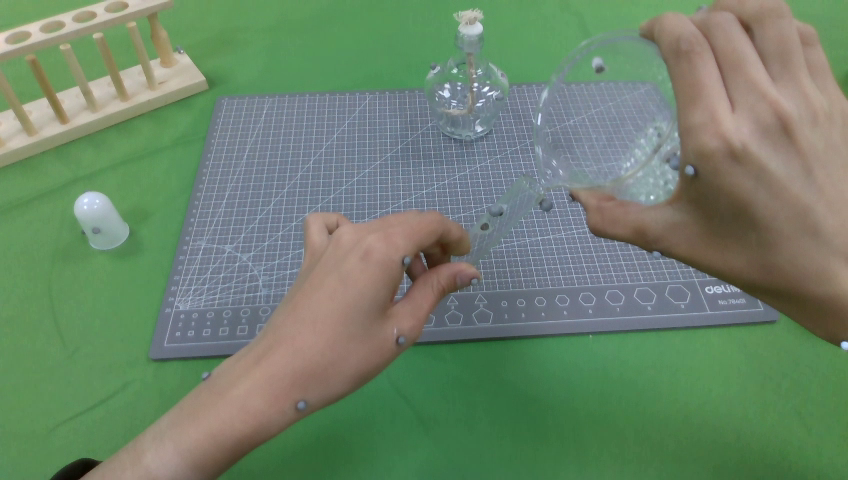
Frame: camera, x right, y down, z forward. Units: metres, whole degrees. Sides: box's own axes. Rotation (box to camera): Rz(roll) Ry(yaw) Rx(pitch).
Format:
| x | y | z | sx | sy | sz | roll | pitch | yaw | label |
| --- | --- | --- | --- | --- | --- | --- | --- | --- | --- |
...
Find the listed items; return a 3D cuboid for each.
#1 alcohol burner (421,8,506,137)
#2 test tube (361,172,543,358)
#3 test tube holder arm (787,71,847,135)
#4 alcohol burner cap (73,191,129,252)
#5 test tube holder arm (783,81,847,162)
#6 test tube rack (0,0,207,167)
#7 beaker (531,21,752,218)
| x | y | z | sx | sy | sz | roll | pitch | yaw | label |
| --- | --- | --- | --- | --- | --- | --- | --- | --- | --- |
| 0.036 | -0.151 | 0.539 | 0.078 | 0.120 | 0.077 | 1 | 51 | 0 | alcohol burner |
| 0.010 | 0.019 | 0.334 | 0.017 | 0.150 | 0.017 | 31 | 30 | -20 | test tube |
| 0.327 | -0.110 | 0.496 | 0.015 | 0.010 | 0.087 | 1 | 48 | -7 | test tube holder arm |
| -0.261 | -0.017 | 0.483 | 0.034 | 0.048 | 0.033 | 0 | 50 | 0 | alcohol burner cap |
| 0.329 | -0.073 | 0.470 | 0.015 | 0.013 | 0.176 | 1 | 47 | -7 | test tube holder arm |
| -0.341 | -0.149 | 0.565 | 0.242 | 0.086 | 0.066 | -28 | 55 | -21 | test tube rack |
| 0.112 | -0.051 | 0.308 | 0.101 | 0.084 | 0.073 | 11 | 37 | -42 | beaker |
